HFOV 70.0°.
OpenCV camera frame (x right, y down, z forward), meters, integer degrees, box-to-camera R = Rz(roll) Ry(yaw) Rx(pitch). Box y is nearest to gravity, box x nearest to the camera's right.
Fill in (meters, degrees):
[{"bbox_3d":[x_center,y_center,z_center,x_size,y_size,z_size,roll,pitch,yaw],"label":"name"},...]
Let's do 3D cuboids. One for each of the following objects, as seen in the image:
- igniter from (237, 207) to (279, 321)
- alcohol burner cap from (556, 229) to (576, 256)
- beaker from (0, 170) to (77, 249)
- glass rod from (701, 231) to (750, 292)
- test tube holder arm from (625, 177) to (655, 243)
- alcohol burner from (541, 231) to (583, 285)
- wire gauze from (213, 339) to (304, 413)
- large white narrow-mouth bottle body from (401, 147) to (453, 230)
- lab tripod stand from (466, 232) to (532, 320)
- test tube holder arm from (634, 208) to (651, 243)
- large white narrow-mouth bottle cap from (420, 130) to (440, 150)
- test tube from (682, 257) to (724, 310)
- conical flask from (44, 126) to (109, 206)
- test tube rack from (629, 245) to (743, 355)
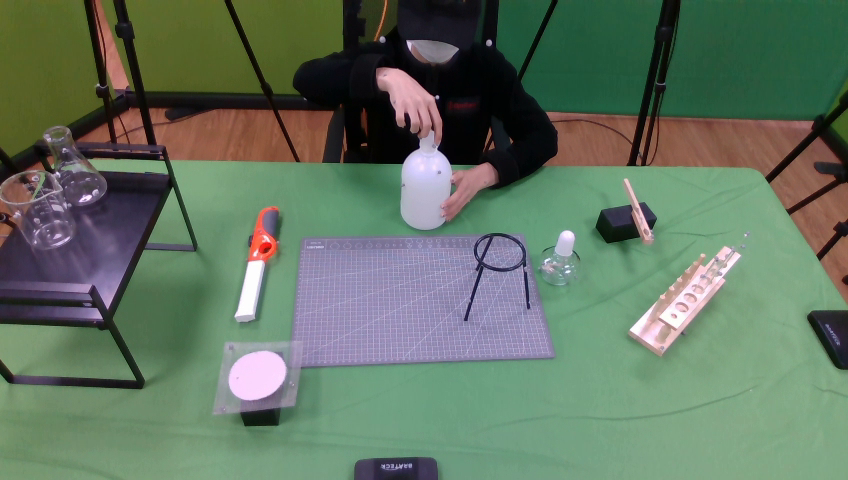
[{"bbox_3d":[-0.309,0.036,1.136,0.057,0.025,0.274,-7,45,5],"label":"igniter"},{"bbox_3d":[0.260,0.002,1.098,0.034,0.048,0.033,3,40,-2],"label":"alcohol burner cap"},{"bbox_3d":[-0.562,-0.042,0.894,0.084,0.101,0.073,-2,47,-7],"label":"beaker"},{"bbox_3d":[0.519,0.045,1.050,0.008,0.201,0.008,0,55,0],"label":"glass rod"},{"bbox_3d":[0.433,-0.062,1.220,0.013,0.015,0.177,1,47,-3],"label":"test tube holder arm"},{"bbox_3d":[0.258,0.028,1.123,0.078,0.120,0.077,1,48,-1],"label":"alcohol burner"},{"bbox_3d":[-0.250,0.203,0.925,0.121,0.011,0.124,-1,46,-3],"label":"wire gauze"},{"bbox_3d":[0.006,-0.119,1.191,0.102,0.195,0.101,2,46,-2],"label":"large white narrow-mouth bottle body"},{"bbox_3d":[0.125,0.059,1.065,0.148,0.132,0.147,1,45,0],"label":"lab tripod stand"},{"bbox_3d":[0.428,-0.030,1.189,0.010,0.015,0.087,1,47,-2],"label":"test tube holder arm"},{"bbox_3d":[0.011,-0.185,1.121,0.038,0.024,0.037,2,46,-2],"label":"large white narrow-mouth bottle cap"},{"bbox_3d":[0.475,0.080,1.037,0.017,0.151,0.017,2,51,-2],"label":"test tube"},{"bbox_3d":[-0.554,-0.119,0.953,0.075,0.122,0.075,2,46,-2],"label":"conical flask"},{"bbox_3d":[0.474,0.095,1.091,0.242,0.085,0.066,-34,56,-31],"label":"test tube rack"}]
